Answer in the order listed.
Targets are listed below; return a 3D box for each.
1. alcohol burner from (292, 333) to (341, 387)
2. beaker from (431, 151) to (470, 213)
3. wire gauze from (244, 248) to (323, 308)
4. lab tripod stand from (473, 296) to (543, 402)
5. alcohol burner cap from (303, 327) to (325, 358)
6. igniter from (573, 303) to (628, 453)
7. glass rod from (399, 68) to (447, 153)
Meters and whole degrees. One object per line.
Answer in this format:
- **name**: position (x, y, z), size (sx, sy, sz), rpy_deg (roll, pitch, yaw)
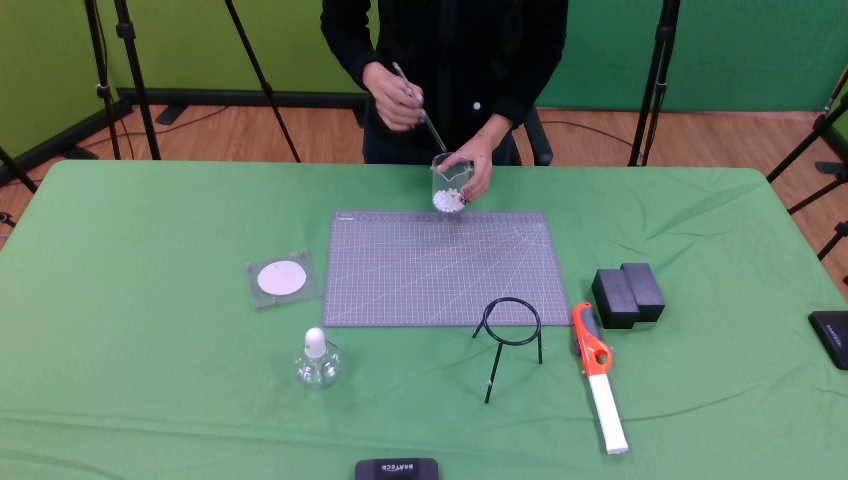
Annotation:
- **alcohol burner**: position (-0.170, 0.179, 0.950), size (0.078, 0.120, 0.077), rpy_deg (2, 48, -2)
- **beaker**: position (0.051, -0.108, 1.176), size (0.074, 0.101, 0.083), rpy_deg (4, 44, 5)
- **wire gauze**: position (-0.262, 0.071, 1.121), size (0.125, 0.011, 0.120), rpy_deg (-11, 48, -17)
- **lab tripod stand**: position (0.132, 0.168, 0.969), size (0.148, 0.132, 0.147), rpy_deg (3, 48, -3)
- **alcohol burner cap**: position (-0.169, 0.154, 0.925), size (0.034, 0.048, 0.033), rpy_deg (4, 42, -3)
- **igniter**: position (0.288, 0.216, 1.006), size (0.057, 0.025, 0.274), rpy_deg (-9, 46, 8)
- **glass rod**: position (0.000, -0.223, 1.068), size (0.008, 0.201, 0.008), rpy_deg (-16, 47, 18)
